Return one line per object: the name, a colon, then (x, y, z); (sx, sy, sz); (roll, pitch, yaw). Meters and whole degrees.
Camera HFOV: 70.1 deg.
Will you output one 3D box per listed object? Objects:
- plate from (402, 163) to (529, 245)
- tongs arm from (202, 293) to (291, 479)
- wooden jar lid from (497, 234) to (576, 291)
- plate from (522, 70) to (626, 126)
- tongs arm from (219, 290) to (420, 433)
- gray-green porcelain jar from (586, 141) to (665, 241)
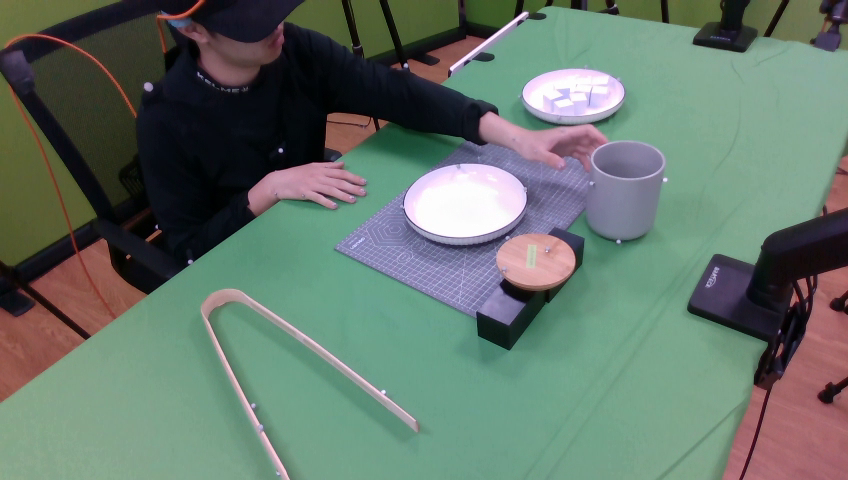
plate: (0.069, -0.056, 1.008); (0.209, 0.038, 0.208); (-4, 40, 4)
tongs arm: (-0.216, 0.187, 0.772); (0.051, 0.026, 0.381); (-27, 43, -24)
wooden jar lid: (0.155, 0.032, 0.834); (0.108, 0.021, 0.108); (-5, 40, 5)
plate: (0.308, -0.289, 1.251); (0.207, 0.039, 0.206); (-4, 40, 4)
tongs arm: (-0.153, 0.152, 0.812); (0.384, 0.028, 0.028); (26, 52, 33)
gray-green porcelain jar: (0.305, -0.071, 0.927); (0.106, 0.127, 0.105); (-4, 41, 4)
